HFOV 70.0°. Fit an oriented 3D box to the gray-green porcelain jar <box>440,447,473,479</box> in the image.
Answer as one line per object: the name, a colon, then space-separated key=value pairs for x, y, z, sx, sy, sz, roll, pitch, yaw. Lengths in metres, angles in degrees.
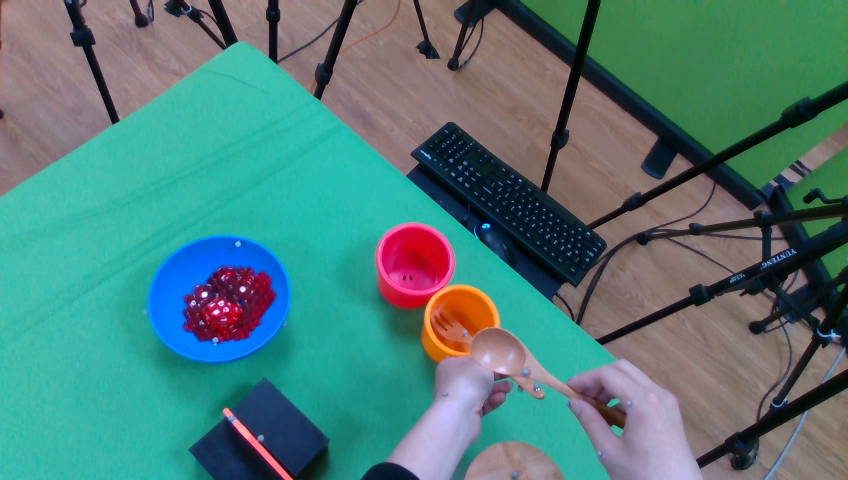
gray-green porcelain jar: x=0.073 y=0.272 z=0.647 sx=0.106 sy=0.127 sz=0.105 roll=5 pitch=64 yaw=-9

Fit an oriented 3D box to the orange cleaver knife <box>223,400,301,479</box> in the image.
orange cleaver knife: x=-0.138 y=0.249 z=0.639 sx=0.012 sy=0.077 sz=0.212 roll=-43 pitch=103 yaw=-21

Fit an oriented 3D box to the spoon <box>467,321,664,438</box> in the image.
spoon: x=0.127 y=0.130 z=0.548 sx=0.193 sy=0.022 sz=0.041 roll=29 pitch=94 yaw=10

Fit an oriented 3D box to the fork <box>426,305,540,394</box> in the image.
fork: x=0.064 y=0.122 z=0.699 sx=0.028 sy=0.205 sz=0.019 roll=-19 pitch=115 yaw=-26

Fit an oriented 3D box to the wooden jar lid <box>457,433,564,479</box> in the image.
wooden jar lid: x=0.084 y=0.245 z=0.589 sx=0.108 sy=0.021 sz=0.107 roll=3 pitch=66 yaw=-7

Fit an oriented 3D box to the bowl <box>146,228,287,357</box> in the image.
bowl: x=-0.234 y=0.070 z=0.704 sx=0.152 sy=0.077 sz=0.150 roll=5 pitch=65 yaw=-9
